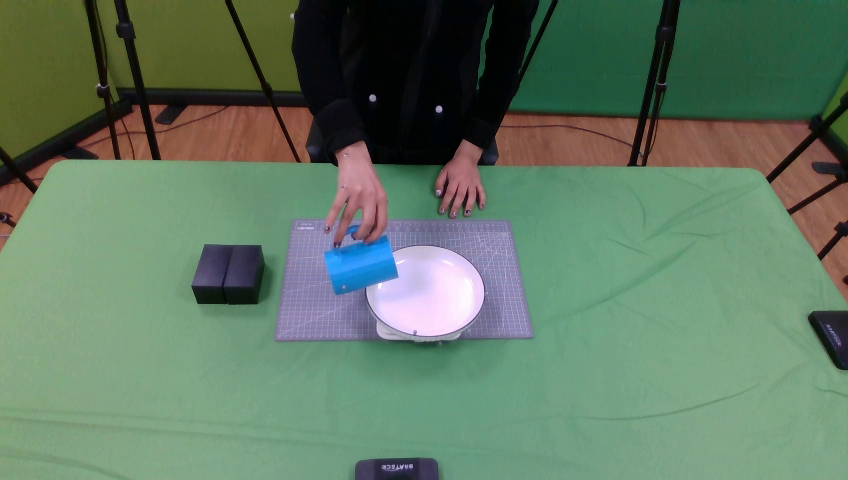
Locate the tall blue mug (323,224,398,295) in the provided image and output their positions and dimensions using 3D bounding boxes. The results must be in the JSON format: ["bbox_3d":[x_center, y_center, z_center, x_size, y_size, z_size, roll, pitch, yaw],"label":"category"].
[{"bbox_3d":[-0.105,0.033,0.988,0.108,0.107,0.077,-15,61,-5],"label":"tall blue mug"}]

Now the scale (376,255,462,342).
[{"bbox_3d":[-0.010,0.096,1.094,0.149,0.032,0.199,2,46,-3],"label":"scale"}]

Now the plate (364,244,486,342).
[{"bbox_3d":[0.001,0.093,1.051,0.209,0.038,0.208,1,46,-1],"label":"plate"}]
